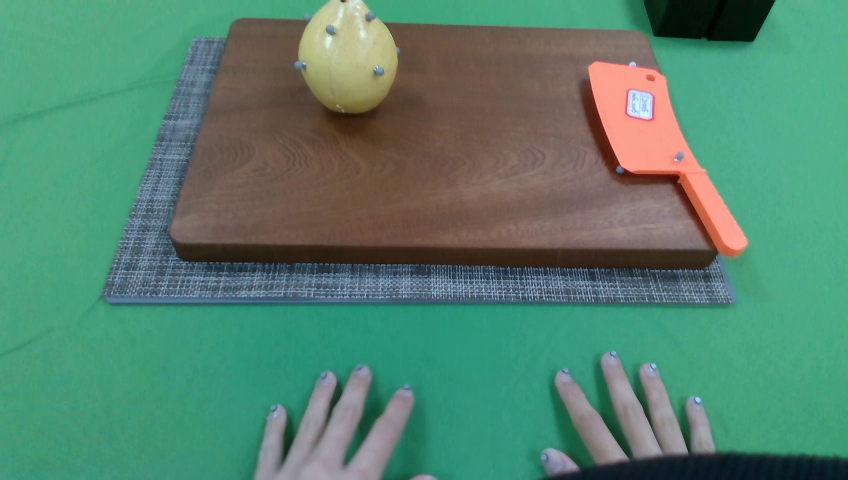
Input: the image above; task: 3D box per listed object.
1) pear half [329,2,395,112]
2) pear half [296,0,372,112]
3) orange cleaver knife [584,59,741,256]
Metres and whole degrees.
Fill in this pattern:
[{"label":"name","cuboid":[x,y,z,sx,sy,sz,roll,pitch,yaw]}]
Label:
[{"label":"pear half","cuboid":[-0.042,-0.139,0.476,0.031,0.089,0.070,24,51,16]},{"label":"pear half","cuboid":[-0.072,-0.162,0.478,0.055,0.111,0.076,26,51,16]},{"label":"orange cleaver knife","cuboid":[0.185,-0.076,0.487,0.077,0.012,0.209,-4,56,-10]}]
